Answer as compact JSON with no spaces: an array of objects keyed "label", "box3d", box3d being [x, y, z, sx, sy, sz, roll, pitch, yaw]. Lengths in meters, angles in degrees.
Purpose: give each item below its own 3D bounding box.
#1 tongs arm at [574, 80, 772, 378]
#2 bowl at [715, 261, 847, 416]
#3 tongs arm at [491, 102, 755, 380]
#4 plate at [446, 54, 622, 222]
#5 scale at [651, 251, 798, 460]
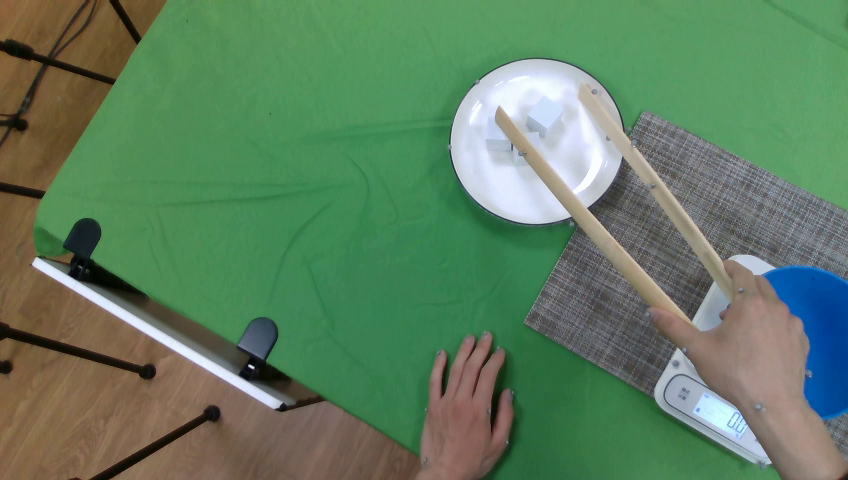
[{"label":"tongs arm","box3d":[0.233,-0.037,0.628,0.051,0.027,0.380,-16,56,-15]},{"label":"bowl","box3d":[0.367,0.100,0.624,0.151,0.077,0.151,-1,82,4]},{"label":"tongs arm","box3d":[0.175,-0.018,0.613,0.028,0.028,0.383,-20,57,-21]},{"label":"plate","box3d":[0.131,-0.121,0.735,0.207,0.039,0.207,-1,81,5]},{"label":"scale","box3d":[0.362,0.126,0.674,0.148,0.032,0.200,30,85,9]}]
